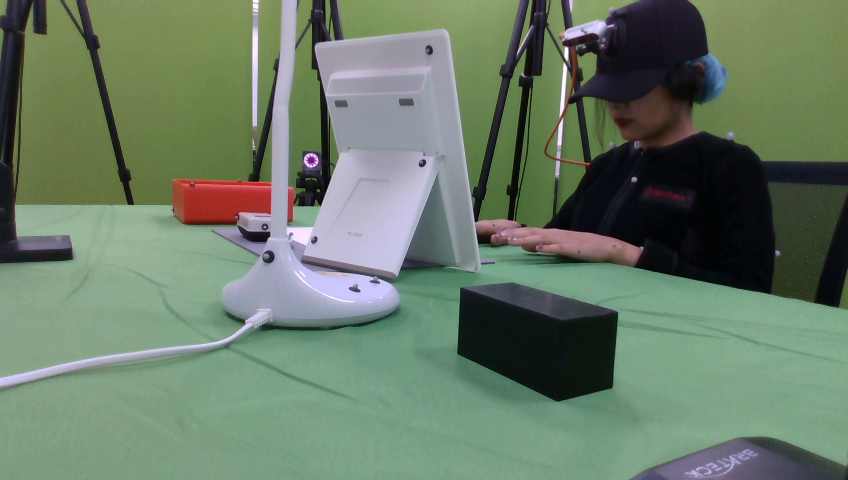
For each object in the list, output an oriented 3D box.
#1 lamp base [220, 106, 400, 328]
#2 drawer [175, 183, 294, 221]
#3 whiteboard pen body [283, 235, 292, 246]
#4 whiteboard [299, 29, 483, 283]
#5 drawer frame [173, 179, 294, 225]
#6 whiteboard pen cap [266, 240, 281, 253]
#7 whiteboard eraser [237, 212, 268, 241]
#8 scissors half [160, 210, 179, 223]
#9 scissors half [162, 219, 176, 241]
[{"bbox_3d":[-0.101,-0.023,0.531,0.160,0.180,0.179,4,10,10],"label":"lamp base"},{"bbox_3d":[-0.402,-0.082,1.279,0.213,0.073,0.193,-2,10,-28],"label":"drawer"},{"bbox_3d":[-0.206,0.005,0.872,0.017,0.017,0.140,2,4,-6],"label":"whiteboard pen body"},{"bbox_3d":[-0.074,-0.082,0.742,0.216,0.305,0.144,9,29,38],"label":"whiteboard"},{"bbox_3d":[-0.404,-0.083,1.277,0.215,0.082,0.200,-2,9,-29],"label":"drawer frame"},{"bbox_3d":[-0.202,0.009,0.813,0.018,0.018,0.033,1,3,-8],"label":"whiteboard pen cap"},{"bbox_3d":[-0.272,-0.023,0.998,0.056,0.042,0.112,-3,9,-26],"label":"whiteboard eraser"},{"bbox_3d":[-0.506,-0.066,1.256,0.013,0.040,0.175,3,22,4],"label":"scissors half"},{"bbox_3d":[-0.507,-0.055,1.262,0.013,0.040,0.175,9,39,2],"label":"scissors half"}]
